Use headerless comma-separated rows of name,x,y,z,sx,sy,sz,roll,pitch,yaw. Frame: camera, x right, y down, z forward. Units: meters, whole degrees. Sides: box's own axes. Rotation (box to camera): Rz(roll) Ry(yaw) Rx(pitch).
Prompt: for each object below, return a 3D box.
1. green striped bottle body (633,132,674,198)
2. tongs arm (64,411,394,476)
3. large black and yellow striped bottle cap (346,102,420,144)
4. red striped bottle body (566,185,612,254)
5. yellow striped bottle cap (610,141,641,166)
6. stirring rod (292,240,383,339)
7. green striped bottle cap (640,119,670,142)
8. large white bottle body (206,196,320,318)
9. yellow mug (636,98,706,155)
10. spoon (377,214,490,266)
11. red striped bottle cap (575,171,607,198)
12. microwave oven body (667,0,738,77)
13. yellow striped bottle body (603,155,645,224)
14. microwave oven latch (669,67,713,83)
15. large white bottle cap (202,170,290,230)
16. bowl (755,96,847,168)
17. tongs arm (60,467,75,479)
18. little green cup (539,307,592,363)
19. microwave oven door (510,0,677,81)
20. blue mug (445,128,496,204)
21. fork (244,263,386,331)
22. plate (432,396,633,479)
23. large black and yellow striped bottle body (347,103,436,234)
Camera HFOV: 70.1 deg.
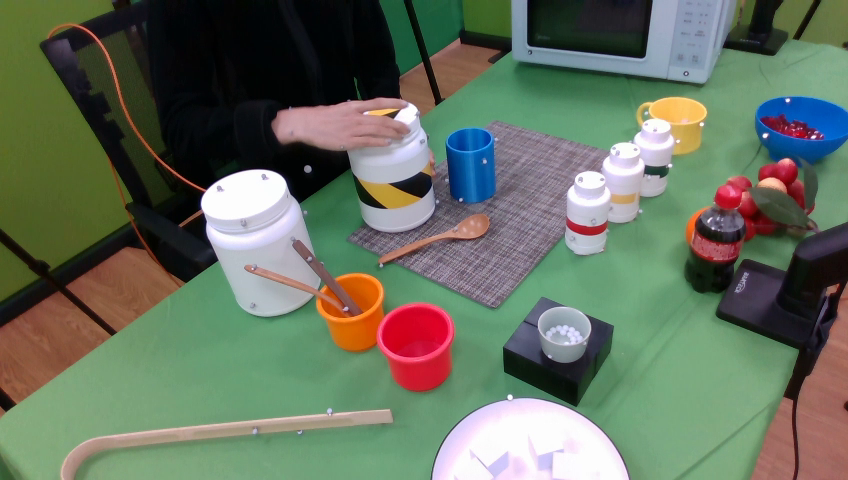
green striped bottle body,0.376,-0.135,1.001,0.063,0.120,0.063,-5,40,5
tongs arm,-0.228,0.241,0.715,0.385,0.026,0.050,-5,43,4
large black and yellow striped bottle cap,-0.064,-0.183,0.936,0.115,0.019,0.114,-5,35,4
red striped bottle body,0.248,-0.041,0.910,0.063,0.120,0.062,-4,41,4
yellow striped bottle cap,0.308,-0.131,0.925,0.044,0.019,0.044,-4,46,5
stirring rod,-0.118,0.068,0.826,0.176,0.006,0.014,49,59,-4
green striped bottle cap,0.371,-0.174,0.968,0.044,0.020,0.044,-3,41,3
large white bottle body,-0.233,0.008,0.876,0.130,0.185,0.130,-4,40,4
yellow mug,0.453,-0.217,1.128,0.100,0.064,0.129,-34,46,-27
spoon,0.016,0.002,0.966,0.194,0.022,0.041,-18,62,-12
red striped bottle cap,0.242,-0.081,0.876,0.044,0.018,0.044,-5,44,5
microwave oven body,0.462,-0.552,1.369,0.439,0.261,0.326,15,45,26
yellow striped bottle body,0.314,-0.090,0.957,0.063,0.121,0.062,-4,40,4
microwave oven latch,0.556,-0.349,1.261,0.078,0.029,0.030,16,46,27
large white bottle cap,-0.241,-0.056,0.822,0.115,0.018,0.114,-4,40,4
bowl,0.645,-0.177,1.041,0.151,0.077,0.150,-5,40,4
tongs arm,-0.239,0.301,0.648,0.386,0.028,0.028,6,49,16
little green cup,0.168,0.115,0.721,0.061,0.039,0.061,-4,42,4
microwave oven door,0.354,-0.478,1.290,0.353,0.245,0.039,15,45,25
blue mug,0.083,-0.139,1.058,0.082,0.106,0.116,-2,40,7
fork,-0.141,0.077,0.807,0.209,0.018,0.028,30,43,-24
plate,0.112,0.261,0.634,0.209,0.038,0.208,-5,40,4
large black and yellow striped bottle body,-0.054,-0.118,0.992,0.131,0.185,0.130,-5,40,4
